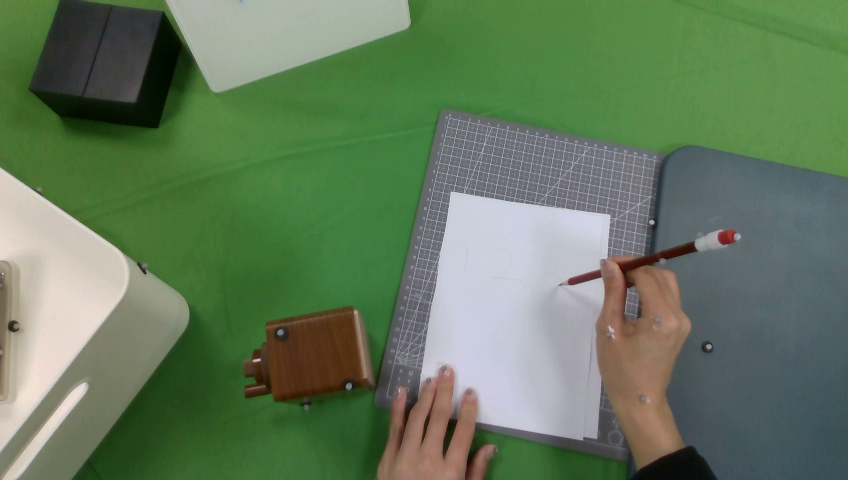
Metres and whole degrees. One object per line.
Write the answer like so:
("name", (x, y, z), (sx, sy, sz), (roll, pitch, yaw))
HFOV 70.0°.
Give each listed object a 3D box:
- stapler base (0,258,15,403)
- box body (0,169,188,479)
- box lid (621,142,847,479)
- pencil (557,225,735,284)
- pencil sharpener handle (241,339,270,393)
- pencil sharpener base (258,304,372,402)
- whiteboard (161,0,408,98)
("stapler base", (-0.383, 0.078, 0.525), (0.041, 0.024, 0.130), (-9, 77, -3))
("box body", (-0.408, 0.045, 0.467), (0.363, 0.161, 0.253), (32, 76, 6))
("box lid", (0.329, 0.093, 0.563), (0.263, 0.015, 0.369), (12, 75, 0))
("pencil", (0.164, 0.017, 0.484), (0.012, 0.194, 0.012), (6, 74, -22))
("pencil sharpener handle", (-0.135, 0.105, 0.478), (0.031, 0.068, 0.035), (-10, 59, -4))
("pencil sharpener base", (-0.086, 0.096, 0.496), (0.077, 0.107, 0.061), (-10, 75, -4))
("whiteboard", (-0.156, -0.320, 0.536), (0.217, 0.308, 0.142), (-21, 57, -7))
